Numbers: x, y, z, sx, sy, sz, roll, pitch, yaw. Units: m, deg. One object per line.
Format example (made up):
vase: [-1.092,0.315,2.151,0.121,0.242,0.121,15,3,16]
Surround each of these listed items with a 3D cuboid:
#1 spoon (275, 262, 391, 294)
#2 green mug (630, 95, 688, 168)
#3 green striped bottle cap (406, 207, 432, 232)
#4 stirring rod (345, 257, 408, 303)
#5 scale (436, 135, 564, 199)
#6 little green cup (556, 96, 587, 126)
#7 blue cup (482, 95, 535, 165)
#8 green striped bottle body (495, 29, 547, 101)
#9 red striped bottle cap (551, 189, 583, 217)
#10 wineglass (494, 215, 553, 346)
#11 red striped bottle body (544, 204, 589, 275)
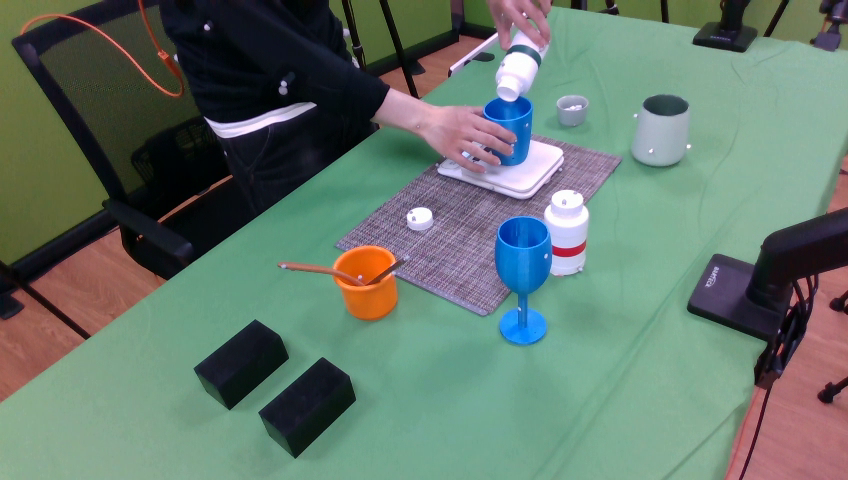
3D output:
spoon: [-0.120,0.050,0.830,0.041,0.195,0.021,31,96,45]
green mug: [0.421,-0.201,1.081,0.092,0.105,0.125,5,42,15]
green striped bottle cap: [-0.008,-0.035,1.011,0.044,0.020,0.044,-1,42,2]
stirring rod: [-0.067,0.056,0.815,0.014,0.175,0.006,-23,81,-37]
scale: [0.137,-0.142,1.101,0.199,0.032,0.149,22,48,30]
little green cup: [0.295,-0.258,1.214,0.061,0.039,0.061,-4,42,4]
blue cup: [0.149,-0.187,1.052,0.092,0.101,0.092,-7,42,7]
green striped bottle body: [0.162,-0.296,1.034,0.063,0.063,0.119,16,69,25]
red striped bottle cap: [0.200,-0.052,0.843,0.044,0.018,0.044,-2,42,2]
wineglass: [0.127,0.055,0.770,0.074,0.173,0.073,-4,40,4]
red striped bottle body: [0.206,-0.011,0.877,0.063,0.120,0.062,-5,41,4]
